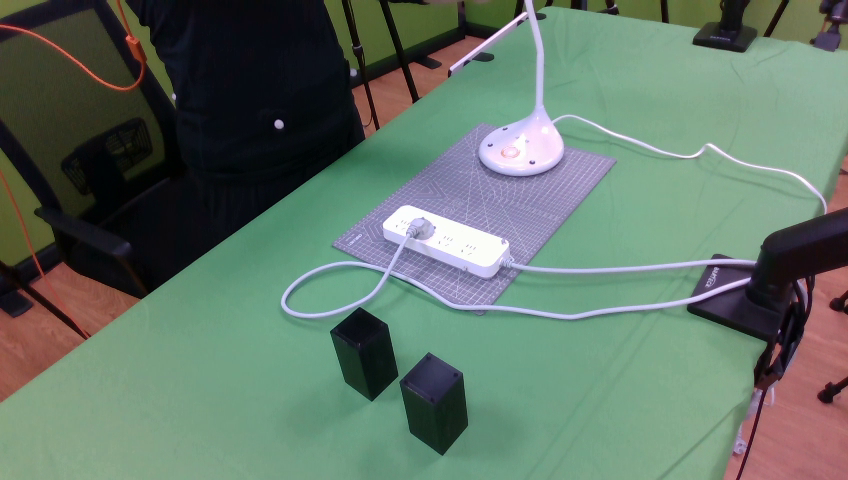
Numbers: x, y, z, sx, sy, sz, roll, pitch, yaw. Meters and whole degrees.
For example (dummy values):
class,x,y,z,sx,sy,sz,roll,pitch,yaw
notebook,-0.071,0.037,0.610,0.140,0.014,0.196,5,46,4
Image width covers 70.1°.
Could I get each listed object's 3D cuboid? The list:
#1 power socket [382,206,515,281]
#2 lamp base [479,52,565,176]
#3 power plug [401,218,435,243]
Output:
class,x,y,z,sx,sy,sz,roll,pitch,yaw
power socket,0.032,0.002,0.950,0.225,0.033,0.072,21,49,29
lamp base,0.181,-0.235,1.094,0.159,0.181,0.179,18,44,27
power plug,-0.014,-0.005,0.937,0.073,0.053,0.035,-37,47,-27
